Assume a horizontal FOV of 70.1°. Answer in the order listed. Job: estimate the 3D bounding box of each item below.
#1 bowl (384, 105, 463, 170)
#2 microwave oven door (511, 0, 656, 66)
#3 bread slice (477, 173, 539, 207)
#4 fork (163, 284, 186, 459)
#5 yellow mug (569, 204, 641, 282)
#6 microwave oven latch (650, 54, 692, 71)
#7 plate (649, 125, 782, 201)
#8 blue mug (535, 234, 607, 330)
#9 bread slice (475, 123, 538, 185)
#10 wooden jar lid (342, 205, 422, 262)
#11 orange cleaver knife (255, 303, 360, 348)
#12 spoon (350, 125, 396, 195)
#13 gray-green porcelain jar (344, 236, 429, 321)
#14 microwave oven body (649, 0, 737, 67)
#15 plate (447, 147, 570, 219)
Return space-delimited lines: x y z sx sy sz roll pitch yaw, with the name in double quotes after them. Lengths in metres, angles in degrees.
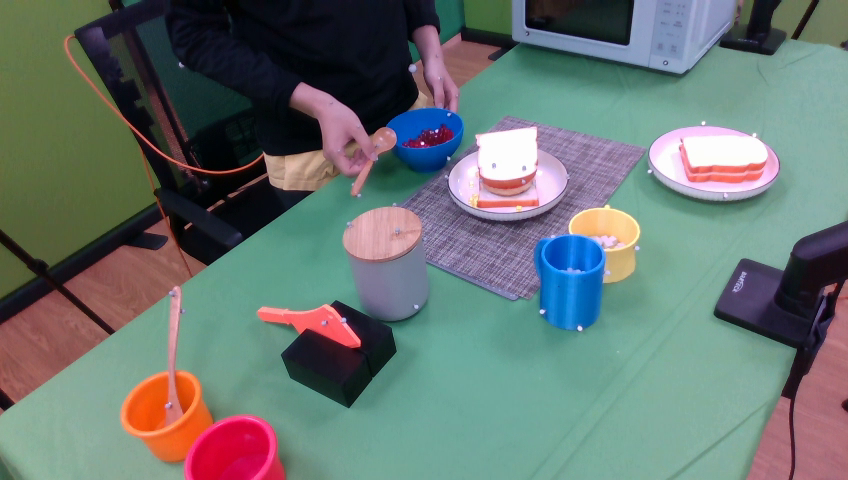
0.002 -0.185 1.143 0.151 0.077 0.150 -4 41 4 "bowl"
0.351 -0.539 1.349 0.353 0.245 0.039 24 50 31 "microwave oven door"
0.144 -0.105 1.058 0.105 0.019 0.131 -1 43 6 "bread slice"
-0.302 0.157 0.733 0.028 0.019 0.207 -3 84 15 "fork"
0.268 -0.005 0.904 0.099 0.064 0.130 7 41 15 "yellow mug"
0.531 -0.386 1.301 0.078 0.029 0.030 24 50 32 "microwave oven latch"
0.493 -0.128 1.036 0.207 0.039 0.206 -4 41 4 "plate"
0.191 0.048 0.824 0.082 0.106 0.115 -26 44 -21 "blue mug"
0.142 -0.144 1.008 0.107 0.018 0.133 -8 47 9 "bread slice"
-0.055 -0.006 0.808 0.108 0.021 0.108 -6 41 6 "wooden jar lid"
-0.161 0.115 0.813 0.210 0.077 0.012 -4 32 46 "orange cleaver knife"
-0.088 -0.135 0.999 0.042 0.021 0.193 25 41 -3 "spoon"
-0.049 0.042 0.849 0.106 0.127 0.105 -4 41 4 "gray-green porcelain jar"
0.475 -0.602 1.411 0.438 0.261 0.327 23 50 32 "microwave oven body"
0.145 -0.098 1.046 0.209 0.038 0.208 -4 40 4 "plate"
